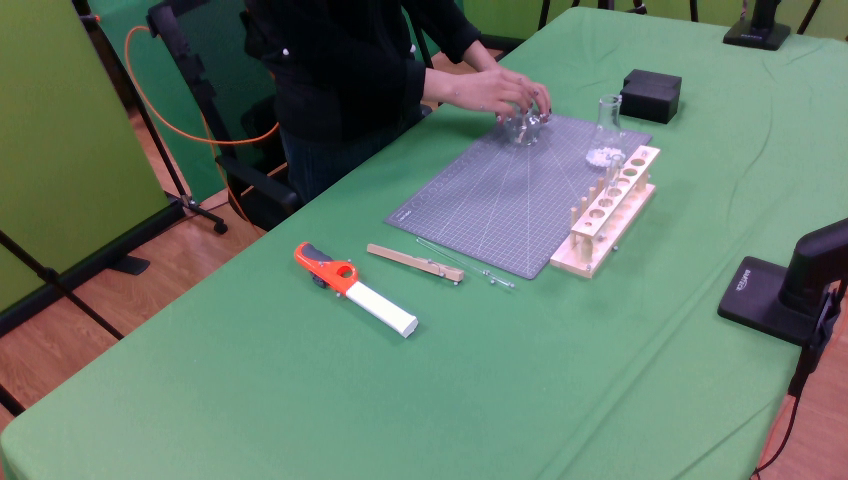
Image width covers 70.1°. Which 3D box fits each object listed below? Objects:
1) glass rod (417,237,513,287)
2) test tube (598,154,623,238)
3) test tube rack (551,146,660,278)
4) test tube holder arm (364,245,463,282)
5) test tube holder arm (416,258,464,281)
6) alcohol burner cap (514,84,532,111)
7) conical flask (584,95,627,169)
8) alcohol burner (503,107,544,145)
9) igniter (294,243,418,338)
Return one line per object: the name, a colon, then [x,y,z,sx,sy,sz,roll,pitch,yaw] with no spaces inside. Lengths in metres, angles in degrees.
glass rod: [0.059,0.032,0.945,0.198,0.008,0.008,26,52,38]
test tube: [0.269,-0.059,0.876,0.017,0.151,0.017,-2,43,3]
test tube rack: [0.286,-0.053,0.943,0.066,0.085,0.243,21,49,32]
test tube holder arm: [-0.020,0.034,0.947,0.177,0.015,0.013,16,10,26]
test tube holder arm: [0.022,0.045,0.931,0.087,0.015,0.010,16,10,28]
alcohol burner cap: [0.188,-0.270,1.136,0.034,0.048,0.033,0,46,1]
conical flask: [0.324,-0.192,1.066,0.075,0.122,0.075,-6,40,5]
alcohol burner: [0.191,-0.243,1.160,0.078,0.119,0.077,-4,40,4]
igniter: [-0.114,0.070,0.919,0.274,0.025,0.057,29,63,37]
